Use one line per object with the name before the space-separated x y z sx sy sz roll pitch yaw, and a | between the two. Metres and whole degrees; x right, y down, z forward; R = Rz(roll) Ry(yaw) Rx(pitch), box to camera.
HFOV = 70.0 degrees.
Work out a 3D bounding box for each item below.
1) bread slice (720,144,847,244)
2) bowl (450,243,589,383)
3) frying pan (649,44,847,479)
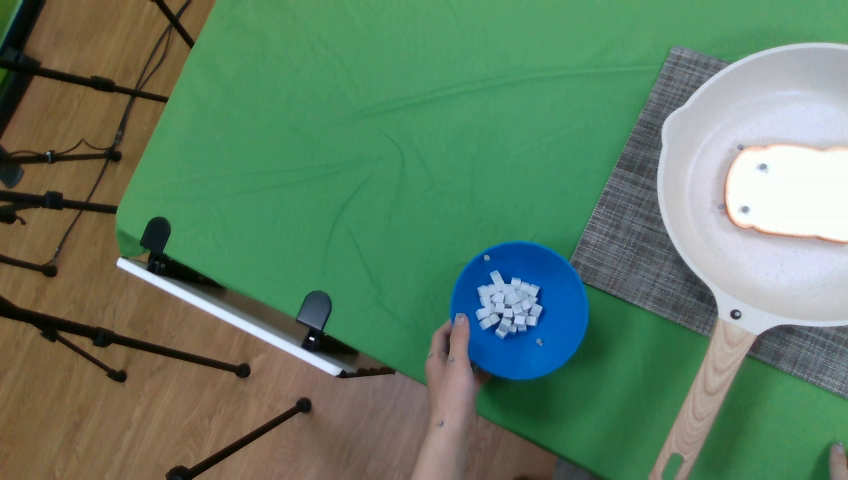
bread slice | 0.395 -0.050 0.657 0.134 0.018 0.106 2 82 13
bowl | 0.110 0.084 0.687 0.151 0.077 0.151 -2 81 14
frying pan | 0.341 0.034 0.616 0.305 0.103 0.487 27 80 18
